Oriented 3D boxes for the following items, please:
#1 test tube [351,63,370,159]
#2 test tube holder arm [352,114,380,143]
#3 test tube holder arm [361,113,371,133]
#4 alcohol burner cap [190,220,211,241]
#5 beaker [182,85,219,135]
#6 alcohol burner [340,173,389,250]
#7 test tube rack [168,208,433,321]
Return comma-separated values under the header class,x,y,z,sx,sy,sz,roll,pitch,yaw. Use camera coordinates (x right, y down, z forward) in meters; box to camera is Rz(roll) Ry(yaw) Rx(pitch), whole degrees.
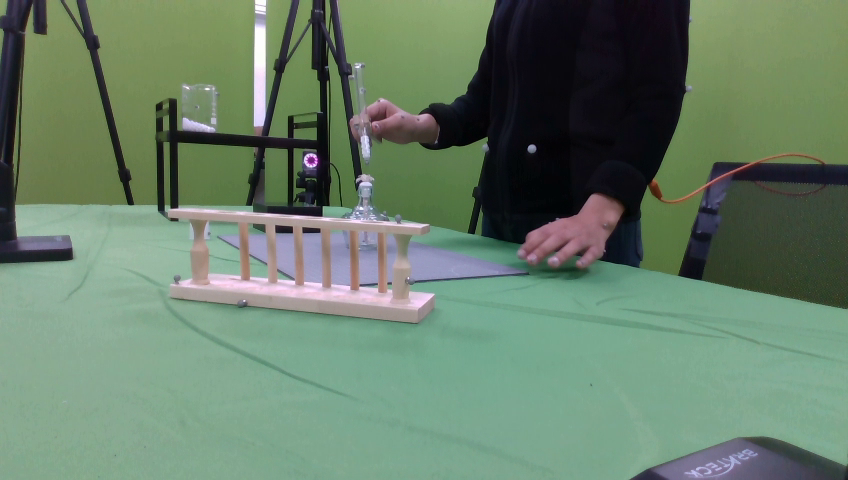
class,x,y,z,sx,sy,sz,roll,pitch,yaw
test tube,-0.098,-0.200,0.936,0.017,0.150,0.017,-6,-2,0
test tube holder arm,-0.095,-0.183,1.003,0.013,0.015,0.178,-3,-1,5
test tube holder arm,-0.091,-0.184,0.958,0.010,0.015,0.088,-3,-1,-2
alcohol burner cap,-0.365,-0.023,0.988,0.034,0.048,0.034,2,8,0
beaker,-0.479,-0.276,1.291,0.074,0.100,0.084,2,8,-1
alcohol burner,-0.093,-0.045,0.939,0.078,0.119,0.078,0,7,0
test tube rack,-0.115,0.017,0.574,0.242,0.085,0.067,4,8,13
